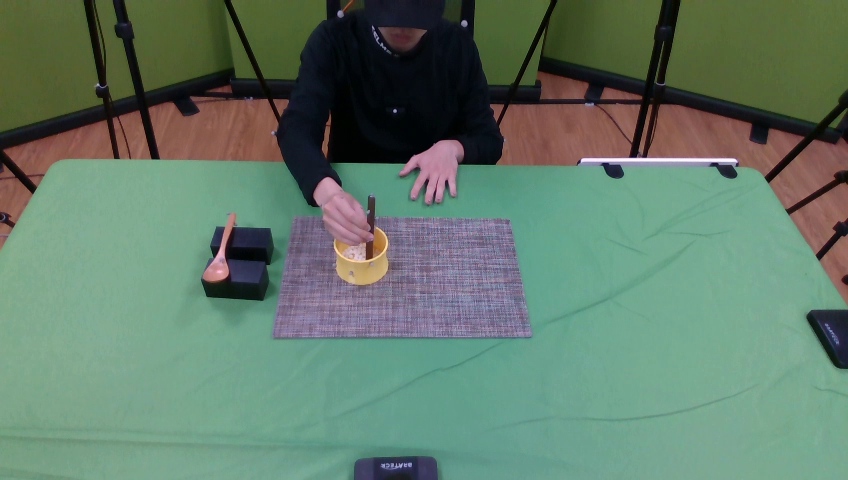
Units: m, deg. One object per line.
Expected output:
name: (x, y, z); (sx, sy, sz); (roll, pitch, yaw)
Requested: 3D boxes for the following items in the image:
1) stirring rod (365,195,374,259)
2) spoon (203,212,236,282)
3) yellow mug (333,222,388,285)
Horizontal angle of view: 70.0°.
stirring rod: (-0.097, -0.007, 1.077); (0.014, 0.177, 0.006); (19, 42, 15)
spoon: (-0.361, 0.009, 1.097); (0.041, 0.022, 0.192); (0, 44, -3)
yellow mug: (-0.126, 0.015, 1.139); (0.100, 0.064, 0.130); (-24, 51, -24)
